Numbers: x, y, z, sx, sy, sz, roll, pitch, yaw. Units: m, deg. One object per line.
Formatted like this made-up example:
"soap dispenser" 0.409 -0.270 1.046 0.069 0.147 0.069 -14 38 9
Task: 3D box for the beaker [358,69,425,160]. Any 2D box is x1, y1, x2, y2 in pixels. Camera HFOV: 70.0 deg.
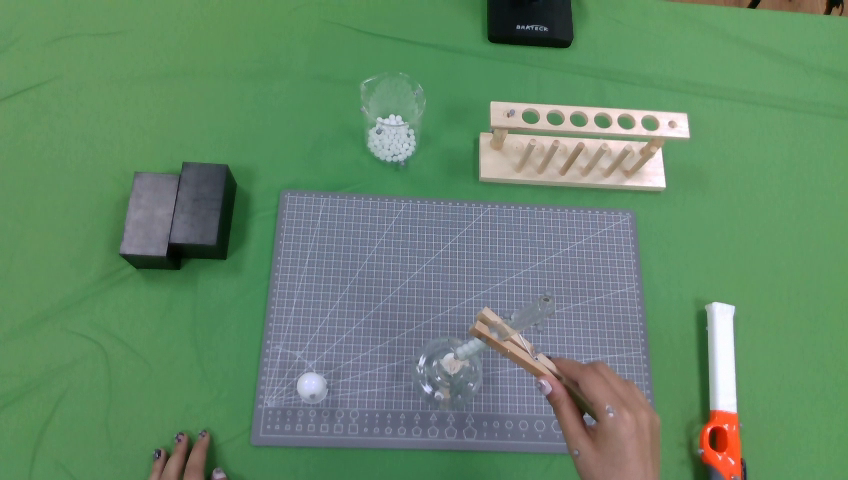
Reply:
"beaker" -0.044 -0.150 0.741 0.084 0.101 0.074 30 70 6

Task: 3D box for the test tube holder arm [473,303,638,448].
"test tube holder arm" 0.112 0.115 0.511 0.178 0.015 0.013 40 59 -4

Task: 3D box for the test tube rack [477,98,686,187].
"test tube rack" 0.193 -0.120 0.760 0.243 0.085 0.066 3 70 -4

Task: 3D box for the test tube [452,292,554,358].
"test tube" 0.059 0.074 0.501 0.017 0.150 0.017 10 63 -21

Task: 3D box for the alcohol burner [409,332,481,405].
"alcohol burner" 0.024 0.132 0.638 0.078 0.120 0.077 2 68 -5

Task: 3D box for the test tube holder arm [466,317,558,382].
"test tube holder arm" 0.074 0.092 0.504 0.088 0.015 0.010 33 59 -8

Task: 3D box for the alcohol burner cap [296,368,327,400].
"alcohol burner cap" -0.123 0.154 0.654 0.034 0.048 0.033 2 71 -5

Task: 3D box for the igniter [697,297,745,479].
"igniter" 0.338 0.201 0.693 0.057 0.025 0.275 12 70 -12
